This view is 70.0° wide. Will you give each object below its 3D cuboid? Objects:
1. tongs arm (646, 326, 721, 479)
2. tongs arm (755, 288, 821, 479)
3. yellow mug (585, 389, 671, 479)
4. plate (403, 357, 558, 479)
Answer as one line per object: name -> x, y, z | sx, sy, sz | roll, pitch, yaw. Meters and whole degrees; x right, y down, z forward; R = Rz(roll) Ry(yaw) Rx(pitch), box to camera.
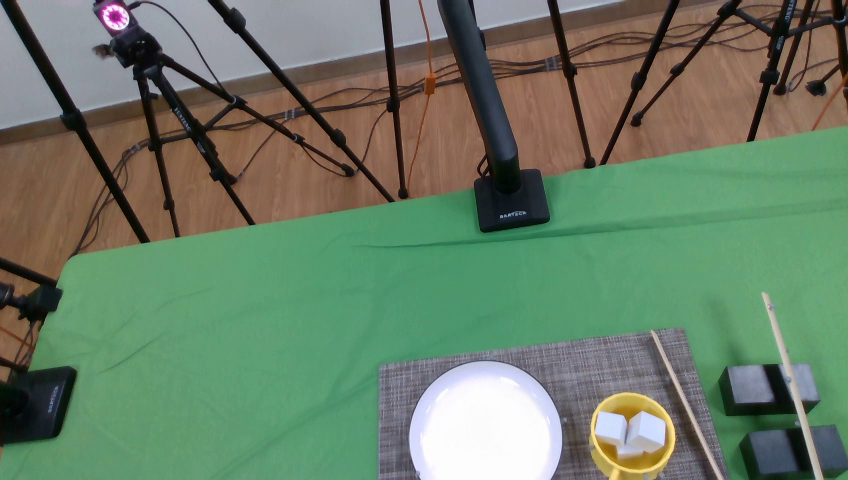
tongs arm -> 0.365, 0.273, 0.751 | 0.028, 0.028, 0.383 | -30, 52, 19
tongs arm -> 0.429, 0.241, 0.713 | 0.050, 0.027, 0.381 | -21, 57, 30
yellow mug -> 0.250, 0.260, 0.765 | 0.099, 0.064, 0.130 | 20, 64, 23
plate -> 0.077, 0.263, 0.822 | 0.207, 0.039, 0.205 | -6, 56, 9
